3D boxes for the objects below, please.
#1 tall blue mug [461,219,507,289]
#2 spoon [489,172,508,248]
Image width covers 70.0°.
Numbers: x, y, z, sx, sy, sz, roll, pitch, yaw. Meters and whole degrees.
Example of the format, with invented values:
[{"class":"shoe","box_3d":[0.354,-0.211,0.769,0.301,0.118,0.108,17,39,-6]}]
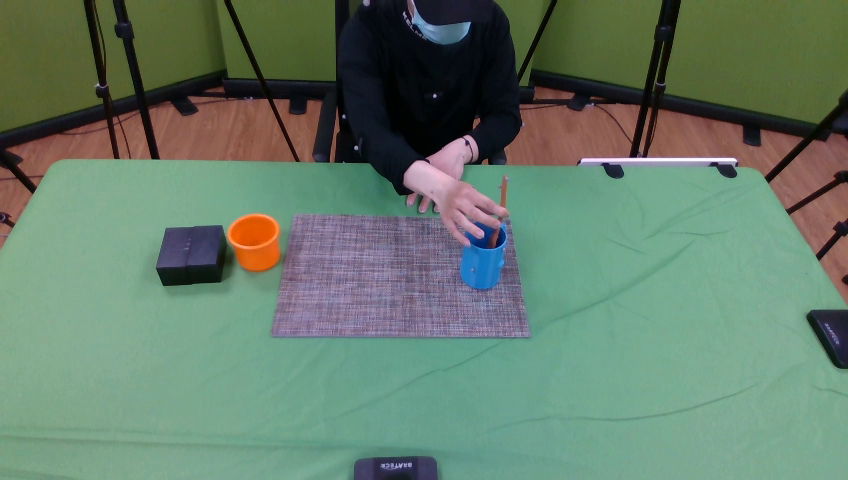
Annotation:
[{"class":"tall blue mug","box_3d":[0.111,0.016,1.122,0.078,0.108,0.106,6,46,4]},{"class":"spoon","box_3d":[0.134,-0.038,1.069,0.022,0.194,0.041,-3,39,-10]}]
